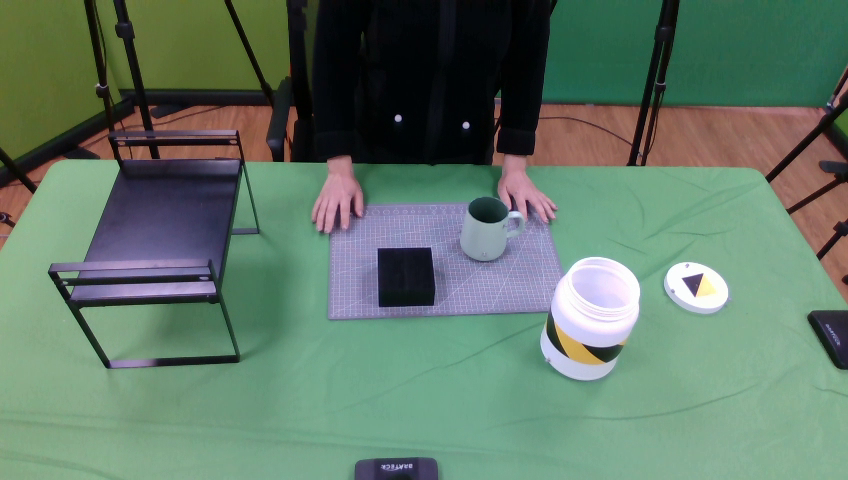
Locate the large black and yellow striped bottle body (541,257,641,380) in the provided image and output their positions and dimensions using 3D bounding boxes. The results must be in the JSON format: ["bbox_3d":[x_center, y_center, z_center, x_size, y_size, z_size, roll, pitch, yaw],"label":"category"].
[{"bbox_3d":[0.269,0.127,0.982,0.131,0.185,0.130,2,47,-2],"label":"large black and yellow striped bottle body"}]

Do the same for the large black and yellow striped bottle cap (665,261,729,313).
[{"bbox_3d":[0.518,0.087,1.153,0.115,0.019,0.114,2,47,-2],"label":"large black and yellow striped bottle cap"}]

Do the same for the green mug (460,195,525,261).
[{"bbox_3d":[0.134,-0.024,1.168,0.125,0.105,0.092,-8,47,-12],"label":"green mug"}]
